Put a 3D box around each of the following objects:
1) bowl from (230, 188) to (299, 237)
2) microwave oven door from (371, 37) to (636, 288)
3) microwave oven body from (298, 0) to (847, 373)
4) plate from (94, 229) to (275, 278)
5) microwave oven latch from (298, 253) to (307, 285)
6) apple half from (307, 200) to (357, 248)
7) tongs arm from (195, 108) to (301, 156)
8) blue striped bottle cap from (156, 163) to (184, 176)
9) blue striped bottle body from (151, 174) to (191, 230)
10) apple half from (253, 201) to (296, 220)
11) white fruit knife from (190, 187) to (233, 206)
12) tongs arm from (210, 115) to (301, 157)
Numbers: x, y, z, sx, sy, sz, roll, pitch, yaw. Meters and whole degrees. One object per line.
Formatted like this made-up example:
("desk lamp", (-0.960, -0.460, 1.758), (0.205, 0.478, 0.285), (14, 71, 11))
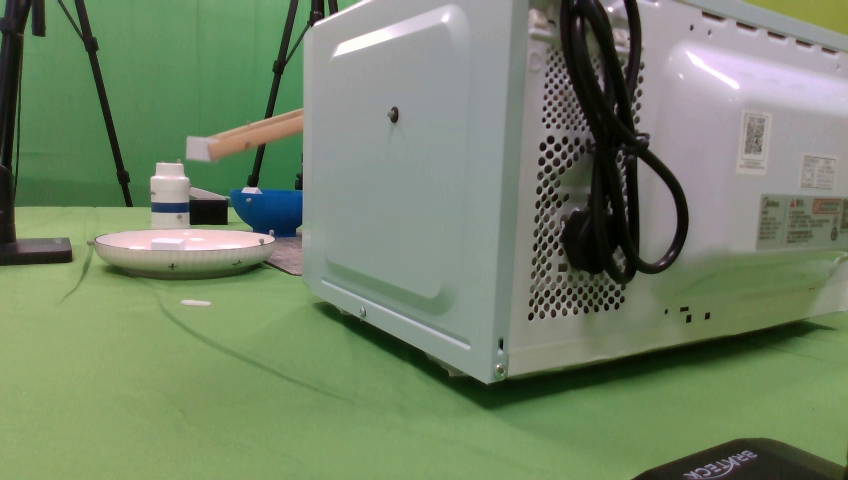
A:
("bowl", (-0.264, -0.048, 1.066), (0.151, 0.077, 0.151), (3, 8, 0))
("microwave oven door", (0.109, -0.080, 0.686), (0.358, 0.243, 0.039), (-2, 9, -33))
("microwave oven body", (0.151, -0.055, 0.542), (0.444, 0.260, 0.324), (-2, 7, -33))
("plate", (-0.291, 0.016, 0.750), (0.208, 0.039, 0.207), (2, 7, 0))
("microwave oven latch", (-0.081, 0.027, 0.582), (0.079, 0.029, 0.030), (-2, 8, -33))
("apple half", (-0.136, -0.024, 0.942), (0.053, 0.074, 0.081), (15, 10, 38))
("tongs arm", (-0.239, -0.213, 1.083), (0.050, 0.026, 0.386), (6, 25, 30))
("blue striped bottle cap", (-0.438, -0.122, 1.045), (0.044, 0.020, 0.044), (5, 6, 0))
("blue striped bottle body", (-0.439, -0.072, 1.052), (0.063, 0.120, 0.063), (2, 7, 0))
("apple half", (-0.264, -0.053, 1.067), (0.081, 0.033, 0.081), (2, 8, 0))
("white fruit knife", (-0.413, -0.081, 1.270), (0.208, 0.027, 0.016), (17, 13, -41))
("tongs arm", (-0.219, -0.210, 1.069), (0.028, 0.028, 0.389), (4, 24, 35))
